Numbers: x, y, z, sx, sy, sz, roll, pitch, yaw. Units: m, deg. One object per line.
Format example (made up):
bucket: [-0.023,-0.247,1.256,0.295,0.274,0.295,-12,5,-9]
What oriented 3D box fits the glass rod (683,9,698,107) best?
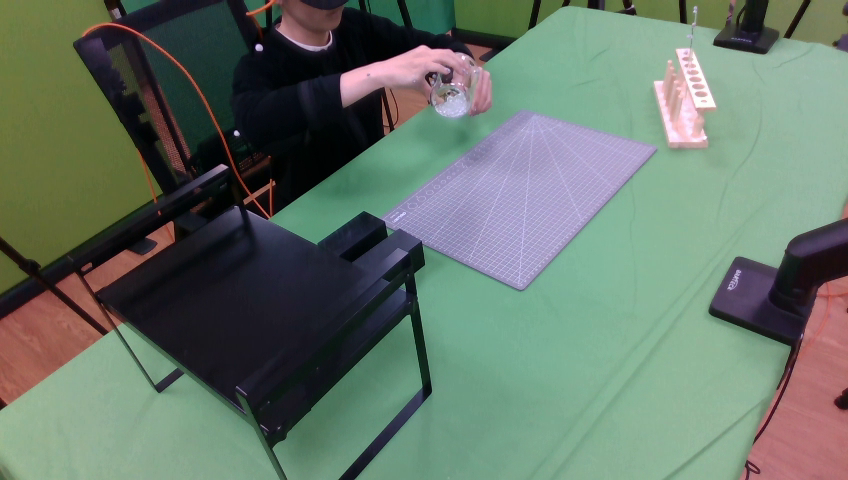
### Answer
glass rod: [0.501,-0.336,1.139,0.008,0.201,0.008,-8,42,8]

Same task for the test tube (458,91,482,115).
test tube: [0.089,-0.257,1.140,0.017,0.017,0.151,7,2,16]

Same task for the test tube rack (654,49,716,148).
test tube rack: [0.502,-0.281,1.176,0.066,0.085,0.241,2,42,11]

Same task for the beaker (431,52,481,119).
beaker: [0.053,-0.254,1.012,0.074,0.084,0.100,0,42,14]
